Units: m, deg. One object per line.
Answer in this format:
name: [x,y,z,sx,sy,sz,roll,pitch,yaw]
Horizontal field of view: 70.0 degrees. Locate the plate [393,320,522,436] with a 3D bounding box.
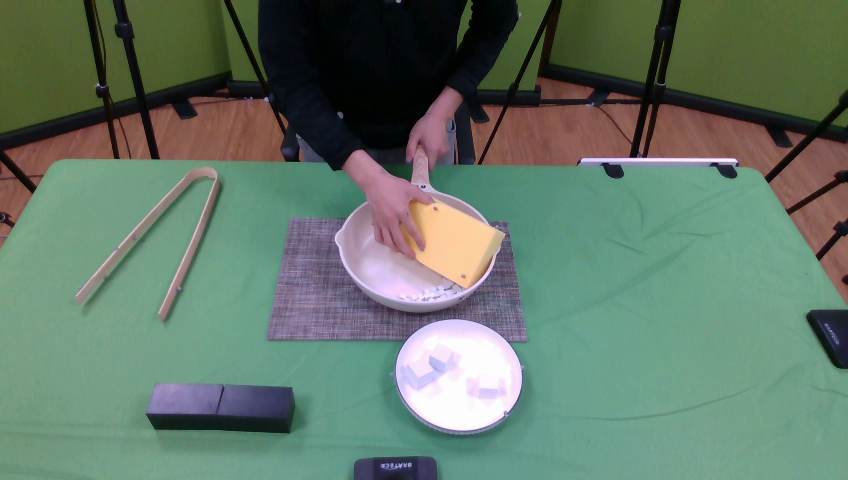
plate: [0.053,0.222,0.979,0.208,0.039,0.206,2,46,-2]

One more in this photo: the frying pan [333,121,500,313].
frying pan: [-0.011,-0.063,1.194,0.307,0.103,0.485,4,55,-2]

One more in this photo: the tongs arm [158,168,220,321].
tongs arm: [-0.446,-0.006,1.164,0.028,0.028,0.385,1,46,0]

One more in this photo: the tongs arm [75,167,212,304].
tongs arm: [-0.526,-0.021,1.167,0.051,0.026,0.383,13,46,7]

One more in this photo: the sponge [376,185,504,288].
sponge: [0.028,-0.007,1.129,0.206,0.118,0.061,28,6,23]
